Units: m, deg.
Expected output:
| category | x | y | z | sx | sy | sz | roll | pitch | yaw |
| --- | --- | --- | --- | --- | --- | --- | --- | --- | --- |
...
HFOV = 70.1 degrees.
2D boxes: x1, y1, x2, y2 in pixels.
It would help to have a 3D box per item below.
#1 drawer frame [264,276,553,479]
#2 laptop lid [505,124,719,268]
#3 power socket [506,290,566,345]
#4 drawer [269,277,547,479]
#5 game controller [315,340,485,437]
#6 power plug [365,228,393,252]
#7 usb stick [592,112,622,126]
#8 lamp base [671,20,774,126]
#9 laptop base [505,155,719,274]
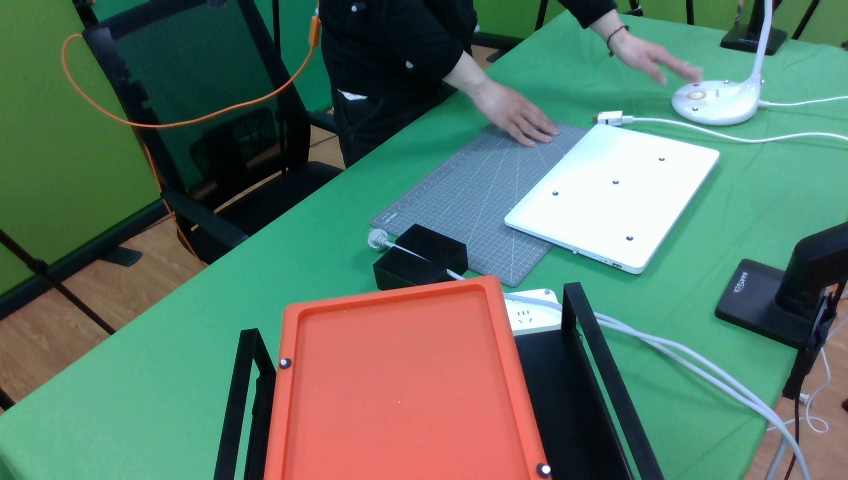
| category | x | y | z | sx | sy | sz | roll | pitch | yaw |
| --- | --- | --- | --- | --- | --- | --- | --- | --- | --- |
| drawer frame | -0.016 | 0.137 | 0.490 | 0.202 | 0.083 | 0.212 | -8 | 41 | -1 |
| laptop lid | 0.323 | -0.093 | 1.021 | 0.240 | 0.013 | 0.358 | 23 | 49 | 32 |
| power socket | 0.081 | 0.112 | 0.822 | 0.227 | 0.033 | 0.072 | -7 | 41 | 0 |
| drawer | -0.018 | 0.137 | 0.493 | 0.195 | 0.073 | 0.210 | -7 | 41 | -1 |
| game controller | -0.021 | 0.120 | 0.534 | 0.155 | 0.052 | 0.096 | -3 | 38 | 1 |
| power plug | -0.068 | 0.010 | 0.954 | 0.035 | 0.053 | 0.072 | -37 | 51 | 1 |
| usb stick | 0.360 | -0.239 | 1.197 | 0.059 | 0.021 | 0.027 | 4 | 43 | 27 |
| lamp base | 0.581 | -0.332 | 1.154 | 0.179 | 0.181 | 0.160 | 2 | 41 | 7 |
| laptop base | 0.326 | -0.083 | 1.028 | 0.233 | 0.023 | 0.355 | 21 | 48 | 32 |
